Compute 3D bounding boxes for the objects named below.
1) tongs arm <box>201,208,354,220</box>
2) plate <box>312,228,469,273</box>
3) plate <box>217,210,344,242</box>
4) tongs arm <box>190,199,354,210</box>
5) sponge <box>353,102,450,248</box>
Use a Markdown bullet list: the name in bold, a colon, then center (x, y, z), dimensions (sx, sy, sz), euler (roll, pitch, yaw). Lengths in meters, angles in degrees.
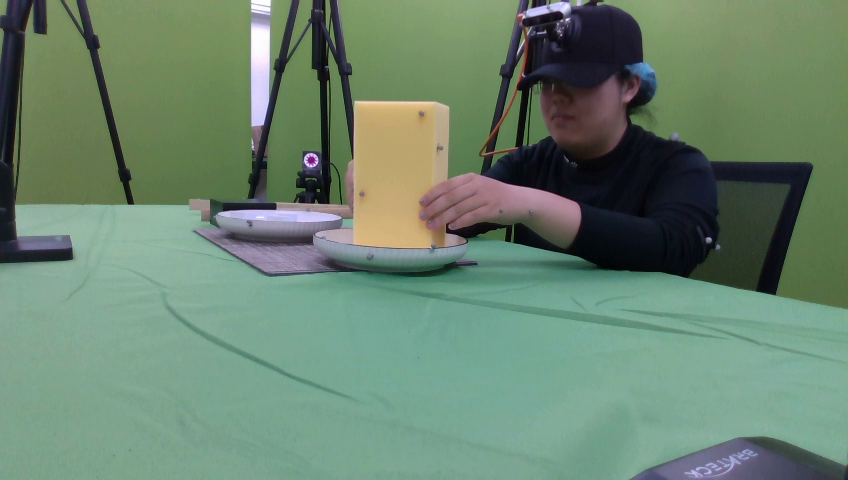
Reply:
- **tongs arm**: center (-0.302, -0.060, 1.350), dimensions (0.390, 0.028, 0.028), euler (-3, 7, -38)
- **plate**: center (-0.044, 0.013, 0.808), dimensions (0.209, 0.038, 0.209), euler (2, 7, 0)
- **plate**: center (-0.241, -0.024, 1.026), dimensions (0.208, 0.039, 0.207), euler (3, 7, 0)
- **tongs arm**: center (-0.341, -0.074, 1.419), dimensions (0.387, 0.026, 0.050), euler (1, 8, -25)
- **sponge**: center (-0.031, -0.083, 0.828), dimensions (0.118, 0.206, 0.061), euler (3, 7, 19)
